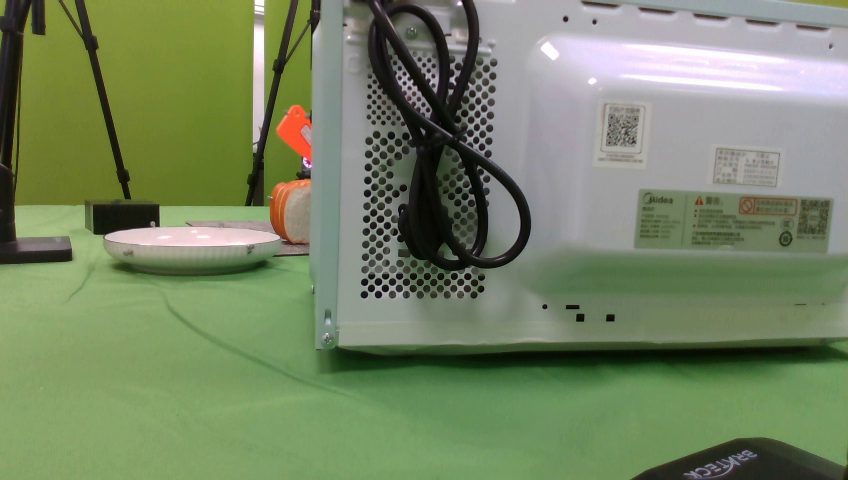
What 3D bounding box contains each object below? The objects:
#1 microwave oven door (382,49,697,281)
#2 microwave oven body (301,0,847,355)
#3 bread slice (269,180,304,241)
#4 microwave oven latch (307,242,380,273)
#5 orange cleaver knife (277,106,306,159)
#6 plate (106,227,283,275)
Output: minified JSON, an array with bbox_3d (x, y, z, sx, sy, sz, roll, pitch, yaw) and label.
[{"bbox_3d":[0.135,-0.077,0.685,0.357,0.243,0.039,1,8,-12],"label":"microwave oven door"},{"bbox_3d":[0.120,-0.053,0.535,0.443,0.260,0.325,2,7,-11],"label":"microwave oven body"},{"bbox_3d":[-0.191,-0.051,1.001,0.135,0.107,0.018,-3,9,-38],"label":"bread slice"},{"bbox_3d":[-0.086,0.019,0.656,0.079,0.029,0.030,2,7,-10],"label":"microwave oven latch"},{"bbox_3d":[-0.167,-0.154,1.045,0.012,0.077,0.212,-2,-23,39],"label":"orange cleaver knife"},{"bbox_3d":[-0.288,0.013,0.772,0.208,0.039,0.207,2,7,0],"label":"plate"}]
